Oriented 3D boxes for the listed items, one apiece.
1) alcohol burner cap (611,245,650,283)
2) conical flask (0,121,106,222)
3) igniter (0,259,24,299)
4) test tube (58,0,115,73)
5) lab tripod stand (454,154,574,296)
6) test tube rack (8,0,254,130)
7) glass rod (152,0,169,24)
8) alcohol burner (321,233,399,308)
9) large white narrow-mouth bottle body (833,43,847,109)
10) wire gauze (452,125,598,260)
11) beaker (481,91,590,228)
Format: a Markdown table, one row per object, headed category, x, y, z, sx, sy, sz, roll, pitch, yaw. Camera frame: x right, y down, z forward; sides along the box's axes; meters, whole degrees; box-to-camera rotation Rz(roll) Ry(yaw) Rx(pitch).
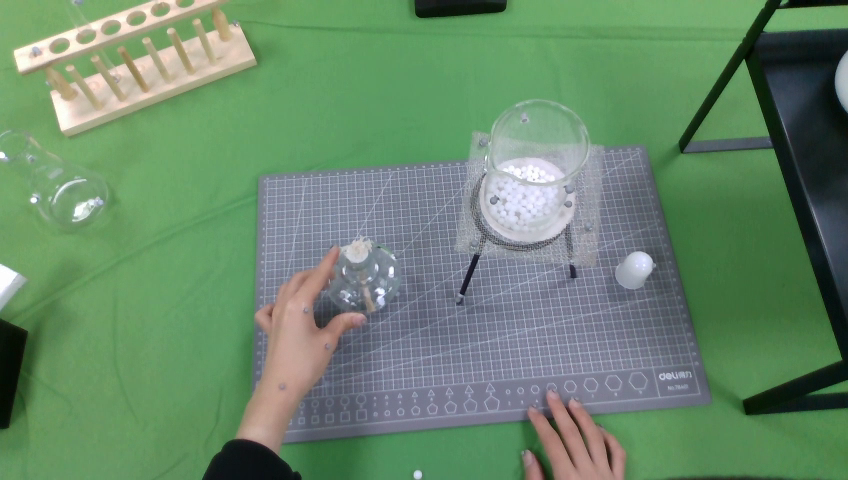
| category | x | y | z | sx | sy | sz | roll | pitch | yaw |
| --- | --- | --- | --- | --- | --- | --- | --- | --- | --- |
| alcohol burner cap | 0.217 | 0.022 | 0.628 | 0.034 | 0.048 | 0.033 | 0 | 67 | 1 |
| conical flask | -0.399 | -0.075 | 0.635 | 0.075 | 0.123 | 0.075 | 0 | 67 | 1 |
| igniter | -0.472 | 0.135 | 0.549 | 0.057 | 0.025 | 0.275 | 22 | 68 | 20 |
| test tube | -0.381 | -0.243 | 0.671 | 0.017 | 0.151 | 0.017 | 0 | 61 | 0 |
| lab tripod stand | 0.088 | -0.013 | 0.595 | 0.148 | 0.132 | 0.147 | 0 | 66 | 0 |
| test tube rack | -0.337 | -0.223 | 0.717 | 0.242 | 0.086 | 0.066 | -24 | 69 | -9 |
| glass rod | -0.311 | -0.289 | 0.672 | 0.008 | 0.201 | 0.008 | -1 | 59 | 3 |
| alcohol burner | -0.064 | 0.024 | 0.592 | 0.078 | 0.120 | 0.077 | 0 | 65 | 0 |
| large white narrow-mouth bottle body | 0.394 | -0.166 | 0.431 | 0.102 | 0.196 | 0.101 | -1 | 67 | 2 |
| wire gauze | 0.093 | -0.043 | 0.536 | 0.121 | 0.011 | 0.124 | 9 | 66 | 2 |
| beaker | 0.082 | -0.057 | 0.490 | 0.084 | 0.101 | 0.073 | -27 | 70 | -10 |
